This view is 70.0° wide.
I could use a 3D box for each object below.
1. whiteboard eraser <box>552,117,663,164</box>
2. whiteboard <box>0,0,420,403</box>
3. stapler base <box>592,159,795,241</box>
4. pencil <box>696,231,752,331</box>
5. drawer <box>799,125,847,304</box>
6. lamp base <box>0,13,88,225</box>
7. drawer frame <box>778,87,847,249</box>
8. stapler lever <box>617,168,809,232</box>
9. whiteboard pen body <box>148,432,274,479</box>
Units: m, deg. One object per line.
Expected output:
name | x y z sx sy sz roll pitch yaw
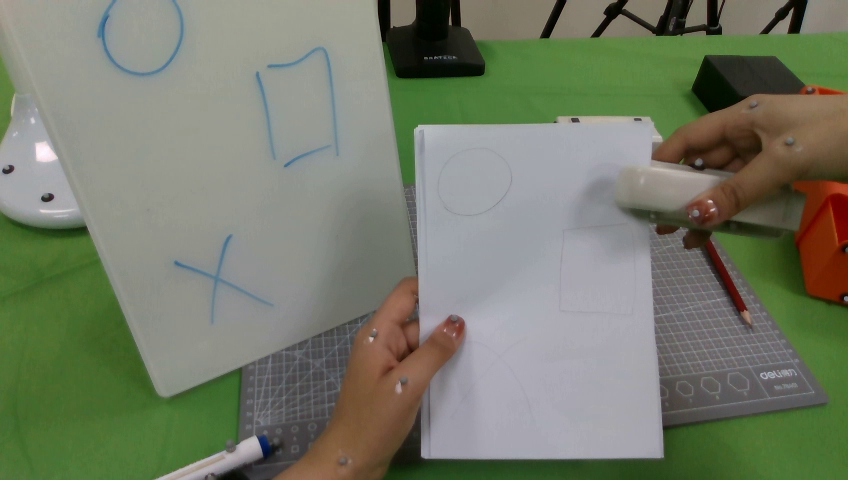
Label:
whiteboard eraser | 0.205 -0.112 0.684 0.113 0.042 0.055 0 45 -5
whiteboard | -0.146 -0.075 0.462 0.218 0.308 0.142 -21 31 -23
stapler base | 0.176 -0.025 0.390 0.131 0.041 0.024 7 9 -2
pencil | 0.276 0.008 0.586 0.012 0.012 0.192 0 47 -5
drawer | 0.472 -0.015 0.583 0.194 0.074 0.210 15 45 11
lamp base | -0.340 -0.130 0.547 0.178 0.182 0.160 24 47 22
drawer frame | 0.492 -0.058 0.626 0.201 0.083 0.212 14 44 10
stapler lever | 0.177 -0.024 0.369 0.118 0.027 0.040 8 9 2
whiteboard pen body | -0.165 0.156 0.384 0.141 0.017 0.017 -18 49 -24
